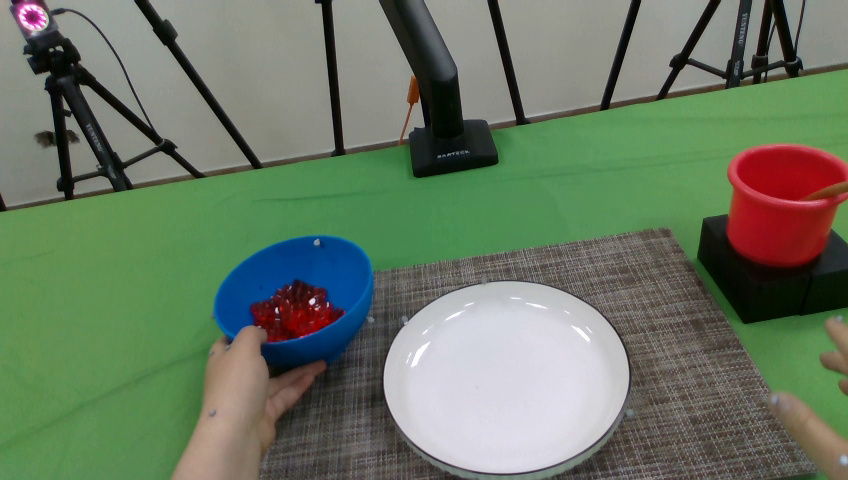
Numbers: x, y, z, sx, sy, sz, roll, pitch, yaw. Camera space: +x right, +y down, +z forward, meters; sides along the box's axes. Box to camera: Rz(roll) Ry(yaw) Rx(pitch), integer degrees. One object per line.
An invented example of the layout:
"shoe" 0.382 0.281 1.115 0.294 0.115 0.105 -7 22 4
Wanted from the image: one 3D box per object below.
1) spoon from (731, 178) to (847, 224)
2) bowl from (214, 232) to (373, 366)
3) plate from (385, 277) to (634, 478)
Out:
"spoon" 0.326 -0.037 0.490 0.041 0.194 0.021 -24 85 -15
"bowl" -0.117 0.069 0.590 0.151 0.077 0.150 -6 38 5
"plate" 0.071 0.114 0.523 0.207 0.039 0.205 -7 38 6
